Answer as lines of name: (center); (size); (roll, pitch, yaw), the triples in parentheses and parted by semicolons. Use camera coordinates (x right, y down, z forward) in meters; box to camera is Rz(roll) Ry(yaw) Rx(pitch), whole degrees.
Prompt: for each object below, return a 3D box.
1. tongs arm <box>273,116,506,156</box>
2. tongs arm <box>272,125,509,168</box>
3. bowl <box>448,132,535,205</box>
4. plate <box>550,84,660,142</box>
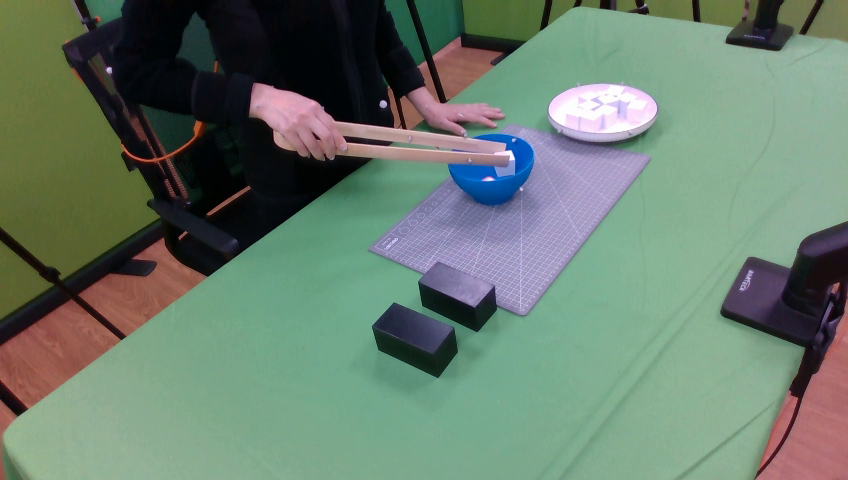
tongs arm: (-0.051, -0.164, 1.003); (0.386, 0.026, 0.050); (8, 45, -5)
tongs arm: (-0.051, -0.148, 0.987); (0.389, 0.028, 0.028); (5, 49, -8)
bowl: (0.119, -0.115, 1.051); (0.151, 0.077, 0.150); (-6, 41, 5)
plate: (0.355, -0.247, 1.195); (0.207, 0.039, 0.206); (-5, 39, 5)
